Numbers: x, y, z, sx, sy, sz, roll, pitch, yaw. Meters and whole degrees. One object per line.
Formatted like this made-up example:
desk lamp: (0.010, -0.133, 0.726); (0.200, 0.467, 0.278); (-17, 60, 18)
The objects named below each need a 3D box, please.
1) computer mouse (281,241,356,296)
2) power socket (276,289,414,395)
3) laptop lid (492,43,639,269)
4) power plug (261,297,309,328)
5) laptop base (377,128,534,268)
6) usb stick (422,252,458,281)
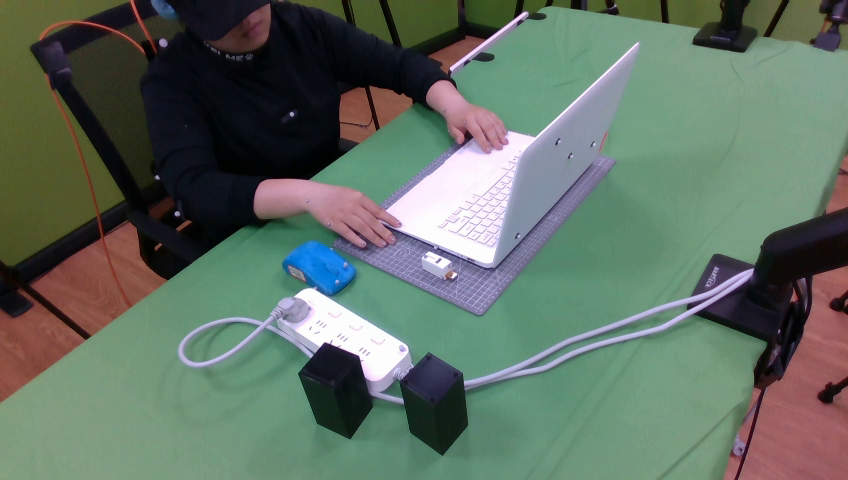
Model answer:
computer mouse: (-0.164, 0.041, 0.933); (0.116, 0.041, 0.063); (27, 49, 28)
power socket: (-0.115, 0.133, 0.821); (0.225, 0.033, 0.072); (26, 49, 33)
laptop lid: (0.217, -0.129, 0.911); (0.013, 0.242, 0.358); (32, 51, 21)
power plug: (-0.193, 0.107, 0.831); (0.073, 0.053, 0.035); (-32, 43, -25)
laptop base: (0.115, -0.088, 1.059); (0.233, 0.023, 0.355); (20, 47, 33)
usb stick: (0.025, 0.042, 0.908); (0.058, 0.027, 0.021); (27, 48, 31)
